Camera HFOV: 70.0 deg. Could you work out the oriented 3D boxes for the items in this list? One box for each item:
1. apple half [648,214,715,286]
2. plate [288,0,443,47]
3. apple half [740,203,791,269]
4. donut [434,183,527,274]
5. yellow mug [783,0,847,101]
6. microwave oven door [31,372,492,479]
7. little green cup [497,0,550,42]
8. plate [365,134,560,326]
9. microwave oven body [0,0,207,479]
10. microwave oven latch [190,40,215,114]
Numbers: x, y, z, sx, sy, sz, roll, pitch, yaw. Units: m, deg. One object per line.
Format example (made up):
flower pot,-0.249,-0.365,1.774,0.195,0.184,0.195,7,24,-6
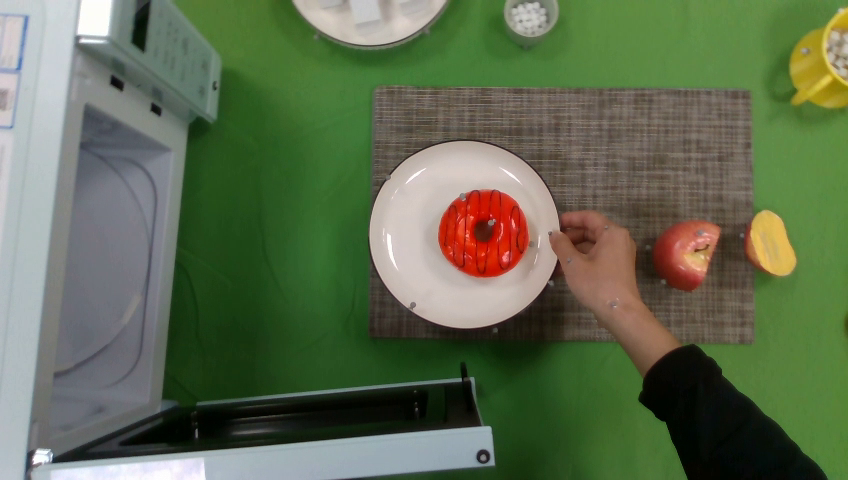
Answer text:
apple half,0.280,0.006,0.678,0.053,0.075,0.081,20,91,6
plate,-0.068,-0.329,0.724,0.208,0.039,0.207,0,86,1
apple half,0.381,-0.001,0.693,0.082,0.033,0.081,10,71,-28
donut,0.061,-0.012,0.648,0.099,0.048,0.099,0,84,3
yellow mug,0.469,-0.208,0.695,0.131,0.064,0.100,-41,87,-1
microwave oven door,-0.121,0.176,0.575,0.356,0.244,0.039,-5,86,0
little green cup,0.116,-0.268,0.718,0.061,0.038,0.061,0,86,1
plate,0.041,-0.011,0.659,0.209,0.038,0.208,0,82,2
microwave oven body,-0.421,-0.027,0.596,0.326,0.260,0.441,3,87,1
microwave oven latch,-0.260,-0.188,0.699,0.030,0.029,0.079,5,87,1
